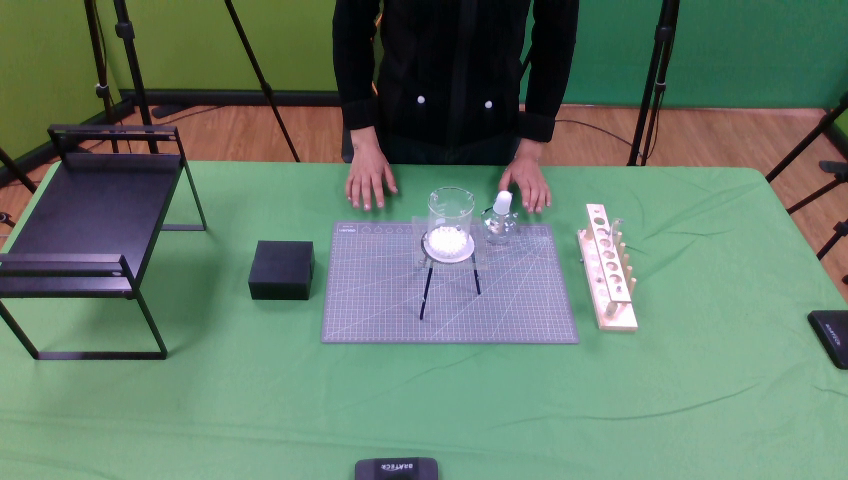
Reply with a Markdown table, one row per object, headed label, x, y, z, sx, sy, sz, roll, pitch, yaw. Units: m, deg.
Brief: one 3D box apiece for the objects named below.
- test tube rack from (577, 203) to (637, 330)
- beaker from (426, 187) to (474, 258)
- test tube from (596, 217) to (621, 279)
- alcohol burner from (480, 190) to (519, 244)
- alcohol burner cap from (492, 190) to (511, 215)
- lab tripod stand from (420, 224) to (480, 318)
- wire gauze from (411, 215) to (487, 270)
| label | x | y | z | sx | sy | sz | roll | pitch | yaw |
| --- | --- | --- | --- | --- | --- | --- | --- | --- | --- |
| test tube rack | 0.348 | 0.045 | 1.139 | 0.067 | 0.085 | 0.241 | 2 | 46 | -2 |
| beaker | 0.043 | -0.027 | 0.989 | 0.084 | 0.101 | 0.073 | -27 | 53 | -26 |
| test tube | 0.331 | 0.018 | 1.094 | 0.017 | 0.151 | 0.017 | 0 | 45 | 0 |
| alcohol burner | 0.149 | -0.050 | 1.191 | 0.078 | 0.120 | 0.077 | 1 | 46 | -1 |
| alcohol burner cap | 0.151 | -0.076 | 1.165 | 0.034 | 0.048 | 0.033 | 5 | 49 | -6 |
| lab tripod stand | 0.034 | 0.051 | 1.070 | 0.148 | 0.132 | 0.147 | 3 | 48 | -3 |
| wire gauze | 0.041 | 0.003 | 1.026 | 0.125 | 0.011 | 0.120 | 0 | 46 | -1 |
